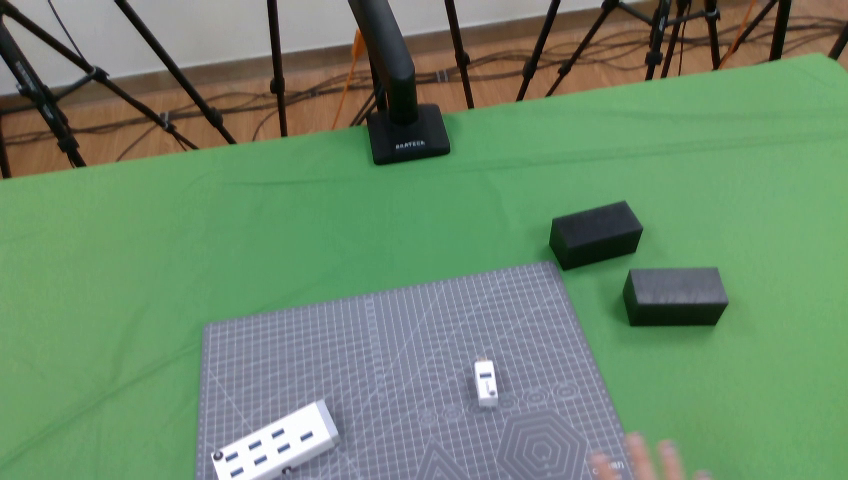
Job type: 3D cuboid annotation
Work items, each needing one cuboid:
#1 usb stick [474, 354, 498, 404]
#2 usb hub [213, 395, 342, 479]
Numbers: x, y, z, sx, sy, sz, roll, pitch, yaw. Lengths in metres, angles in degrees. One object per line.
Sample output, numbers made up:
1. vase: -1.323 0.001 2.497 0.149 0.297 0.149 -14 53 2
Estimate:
1. usb stick: 0.068 0.150 0.675 0.021 0.027 0.058 -7 49 2
2. usb hub: -0.154 0.214 0.639 0.125 0.025 0.049 -24 53 -15
